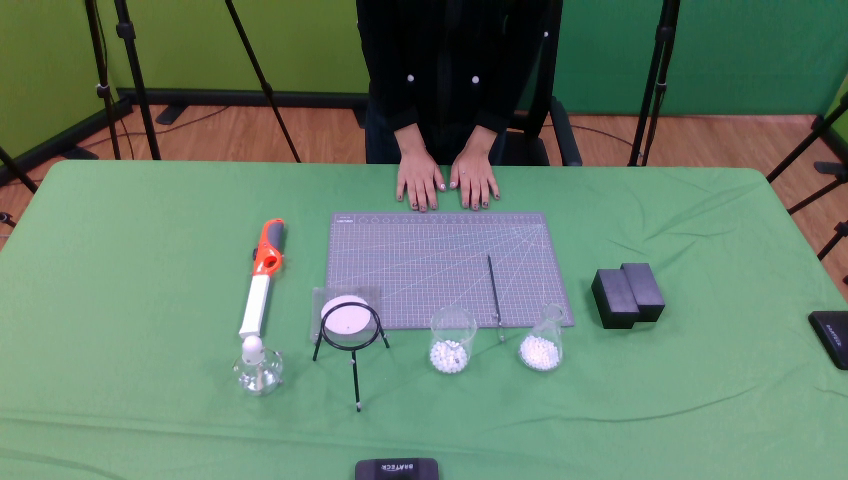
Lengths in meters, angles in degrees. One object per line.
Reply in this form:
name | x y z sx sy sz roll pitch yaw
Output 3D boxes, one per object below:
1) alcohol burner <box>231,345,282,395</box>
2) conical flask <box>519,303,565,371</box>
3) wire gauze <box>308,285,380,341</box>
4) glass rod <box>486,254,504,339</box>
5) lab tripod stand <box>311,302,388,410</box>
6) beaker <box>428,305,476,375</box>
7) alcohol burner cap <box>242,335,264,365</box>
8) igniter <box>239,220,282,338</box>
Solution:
alcohol burner | -0.260 0.186 0.935 0.078 0.119 0.077 3 44 -3
conical flask | 0.201 0.155 0.997 0.075 0.122 0.075 2 46 -2
wire gauze | -0.141 0.128 1.071 0.125 0.011 0.120 -1 46 -5
glass rod | 0.130 0.099 1.119 0.008 0.008 0.198 -1 46 -4
lab tripod stand | -0.113 0.168 0.951 0.148 0.132 0.147 2 44 -2
beaker | 0.044 0.169 0.987 0.074 0.101 0.083 1 47 -3
alcohol burner cap | -0.258 0.162 0.908 0.034 0.048 0.033 5 48 -6
igniter | -0.298 0.061 1.113 0.057 0.025 0.274 -5 46 4
